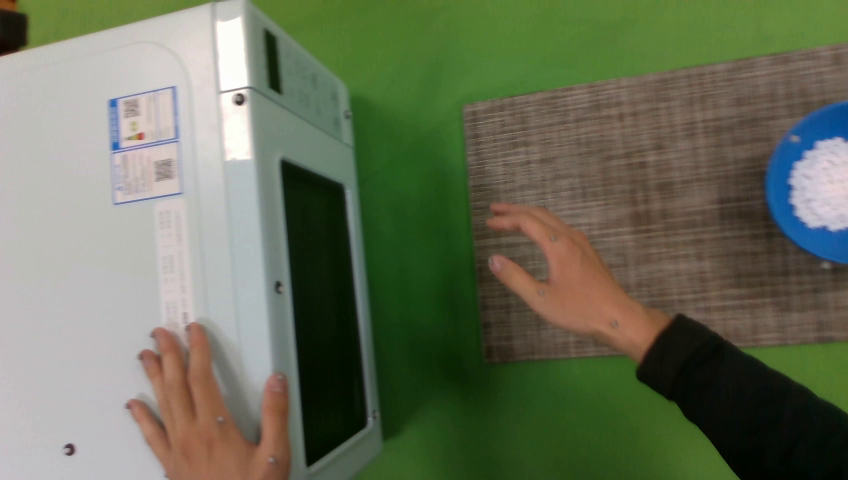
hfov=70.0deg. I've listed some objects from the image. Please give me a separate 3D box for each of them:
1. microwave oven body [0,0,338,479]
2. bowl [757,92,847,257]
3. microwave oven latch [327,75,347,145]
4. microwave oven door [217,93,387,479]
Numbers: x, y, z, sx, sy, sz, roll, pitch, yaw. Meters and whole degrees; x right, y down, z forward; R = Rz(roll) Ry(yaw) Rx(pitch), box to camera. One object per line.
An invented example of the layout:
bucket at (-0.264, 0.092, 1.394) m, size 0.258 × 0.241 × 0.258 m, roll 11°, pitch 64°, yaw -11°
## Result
microwave oven body at (-0.254, 0.041, 0.636) m, size 0.325 × 0.261 × 0.440 m, roll -8°, pitch 86°, yaw 12°
bowl at (0.392, -0.057, 0.578) m, size 0.151 × 0.077 × 0.151 m, roll -1°, pitch 88°, yaw 14°
microwave oven latch at (-0.111, -0.149, 0.708) m, size 0.030 × 0.029 × 0.079 m, roll -8°, pitch 86°, yaw 13°
microwave oven door at (-0.109, 0.061, 0.595) m, size 0.039 × 0.245 × 0.355 m, roll -9°, pitch 85°, yaw 13°
